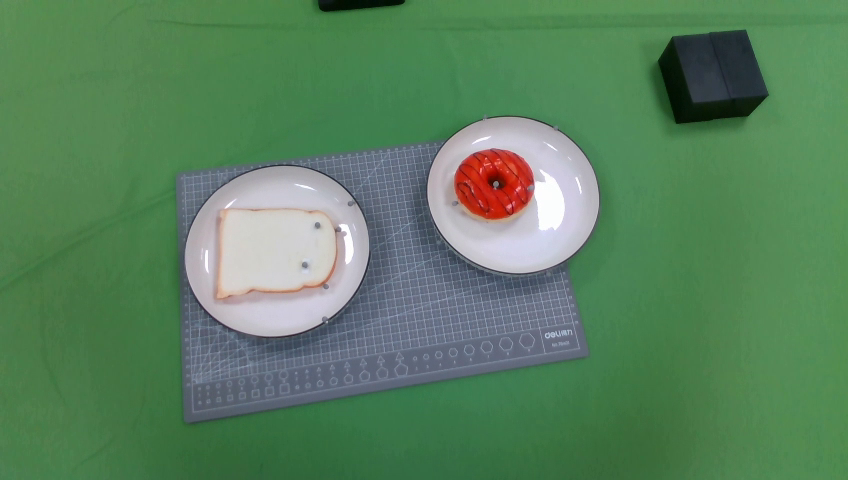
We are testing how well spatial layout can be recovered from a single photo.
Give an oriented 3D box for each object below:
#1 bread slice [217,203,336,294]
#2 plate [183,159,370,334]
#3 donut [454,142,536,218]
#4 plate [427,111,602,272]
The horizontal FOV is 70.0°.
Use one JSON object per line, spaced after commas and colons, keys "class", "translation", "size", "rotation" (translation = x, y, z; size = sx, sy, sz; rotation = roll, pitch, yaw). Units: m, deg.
{"class": "bread slice", "translation": [-0.170, 0.005, 0.699], "size": [0.134, 0.018, 0.106], "rotation": [-6, 72, -5]}
{"class": "plate", "translation": [-0.165, 0.008, 0.697], "size": [0.209, 0.038, 0.207], "rotation": [1, 71, -2]}
{"class": "donut", "translation": [0.084, -0.073, 0.721], "size": [0.099, 0.048, 0.098], "rotation": [0, 67, 0]}
{"class": "plate", "translation": [0.107, -0.057, 0.729], "size": [0.208, 0.039, 0.206], "rotation": [1, 71, -2]}
